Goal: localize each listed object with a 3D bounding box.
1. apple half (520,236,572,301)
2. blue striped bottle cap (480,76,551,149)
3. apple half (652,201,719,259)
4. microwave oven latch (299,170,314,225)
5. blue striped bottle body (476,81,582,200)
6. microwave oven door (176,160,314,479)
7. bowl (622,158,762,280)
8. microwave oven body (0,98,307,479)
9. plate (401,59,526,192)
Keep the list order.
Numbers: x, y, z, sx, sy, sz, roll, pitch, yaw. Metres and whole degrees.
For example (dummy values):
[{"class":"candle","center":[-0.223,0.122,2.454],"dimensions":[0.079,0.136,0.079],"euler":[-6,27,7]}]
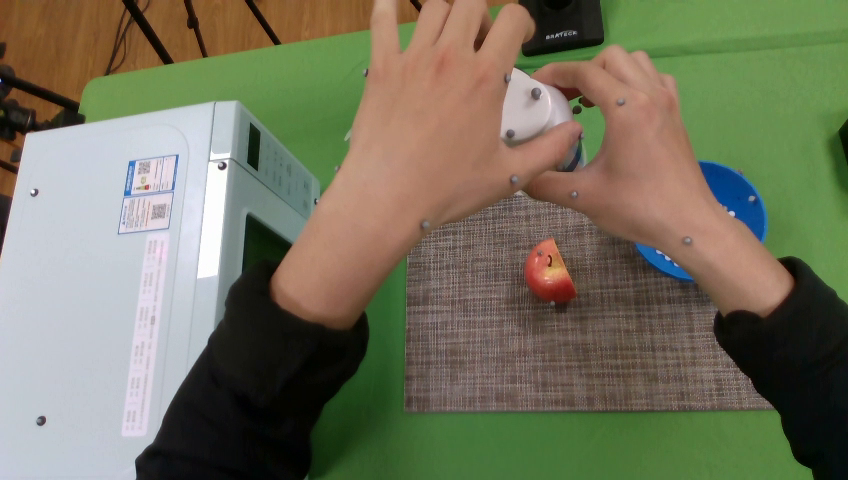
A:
[{"class":"apple half","center":[0.150,0.042,0.769],"dimensions":[0.053,0.075,0.080],"euler":[-24,72,10]},{"class":"blue striped bottle cap","center":[0.058,-0.082,0.391],"dimensions":[0.044,0.021,0.044],"euler":[-3,79,17]},{"class":"apple half","center":[0.319,-0.016,0.736],"dimensions":[0.081,0.033,0.081],"euler":[-5,70,13]},{"class":"microwave oven latch","center":[-0.178,-0.061,0.891],"dimensions":[0.030,0.030,0.078],"euler":[-7,71,12]},{"class":"blue striped bottle body","center":[0.077,-0.072,0.438],"dimensions":[0.063,0.121,0.063],"euler":[-4,79,20]},{"class":"microwave oven door","center":[-0.201,0.114,0.730],"dimensions":[0.039,0.246,0.353],"euler":[-6,71,13]},{"class":"bowl","center":[0.319,-0.016,0.741],"dimensions":[0.151,0.077,0.150],"euler":[-5,71,14]},{"class":"microwave oven body","center":[-0.343,0.090,0.779],"dimensions":[0.325,0.262,0.439],"euler":[-6,72,12]},{"class":"plate","center":[0.070,-0.163,0.881],"dimensions":[0.207,0.039,0.206],"euler":[-4,72,13]}]
